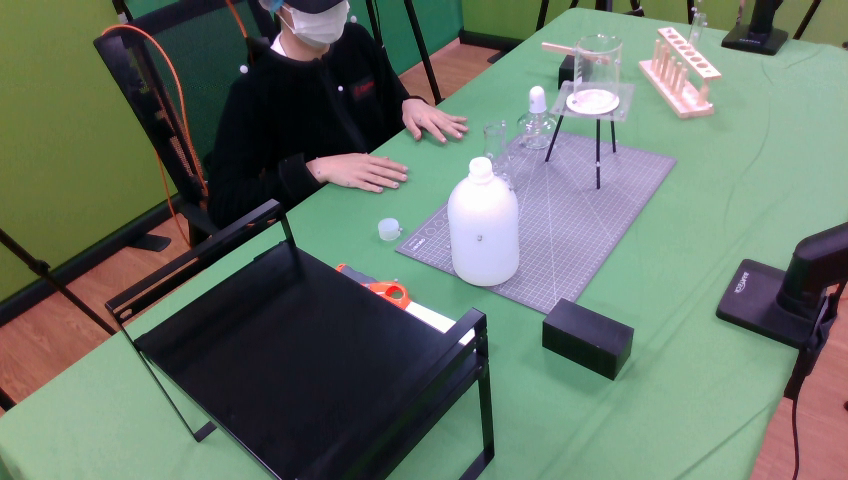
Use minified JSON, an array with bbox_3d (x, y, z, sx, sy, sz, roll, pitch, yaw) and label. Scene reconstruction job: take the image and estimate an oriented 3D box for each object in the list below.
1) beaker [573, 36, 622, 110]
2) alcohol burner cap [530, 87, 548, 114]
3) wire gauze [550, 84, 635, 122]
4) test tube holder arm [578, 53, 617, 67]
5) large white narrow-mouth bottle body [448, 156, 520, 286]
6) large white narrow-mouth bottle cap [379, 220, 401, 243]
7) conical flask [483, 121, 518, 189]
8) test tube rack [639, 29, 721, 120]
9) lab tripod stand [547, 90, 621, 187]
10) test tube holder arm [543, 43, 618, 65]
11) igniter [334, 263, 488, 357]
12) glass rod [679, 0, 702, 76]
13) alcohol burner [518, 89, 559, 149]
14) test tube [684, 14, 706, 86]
[{"bbox_3d":[0.283,-0.273,0.990,0.073,0.101,0.084,16,46,28],"label":"beaker"},{"bbox_3d":[0.212,-0.262,1.126,0.034,0.048,0.033,-8,36,7],"label":"alcohol burner cap"},{"bbox_3d":[0.285,-0.234,1.021,0.124,0.011,0.121,8,41,23],"label":"wire gauze"},{"bbox_3d":[0.376,-0.393,1.314,0.087,0.015,0.010,26,50,32],"label":"test tube holder arm"},{"bbox_3d":[0.086,-0.032,0.869,0.102,0.195,0.101,-4,40,4],"label":"large white narrow-mouth bottle body"},{"bbox_3d":[-0.057,-0.015,1.011,0.038,0.024,0.037,-4,40,4],"label":"large white narrow-mouth bottle cap"},{"bbox_3d":[0.126,-0.145,1.051,0.075,0.122,0.075,-5,41,4],"label":"conical flask"},{"bbox_3d":[0.527,-0.351,1.262,0.067,0.085,0.241,-8,40,1],"label":"test tube rack"},{"bbox_3d":[0.289,-0.184,1.062,0.148,0.132,0.147,-6,41,6],"label":"lab tripod stand"},{"bbox_3d":[0.345,-0.413,1.341,0.177,0.015,0.013,25,50,31],"label":"test tube holder arm"},{"bbox_3d":[-0.030,0.095,0.872,0.274,0.025,0.057,23,60,31],"label":"igniter"},{"bbox_3d":[0.543,-0.417,1.233,0.008,0.200,0.008,1,39,0],"label":"glass rod"},{"bbox_3d":[0.218,-0.235,1.149,0.078,0.119,0.077,-5,43,5],"label":"alcohol burner"},{"bbox_3d":[0.540,-0.378,1.215,0.017,0.151,0.017,-2,44,3],"label":"test tube"}]
